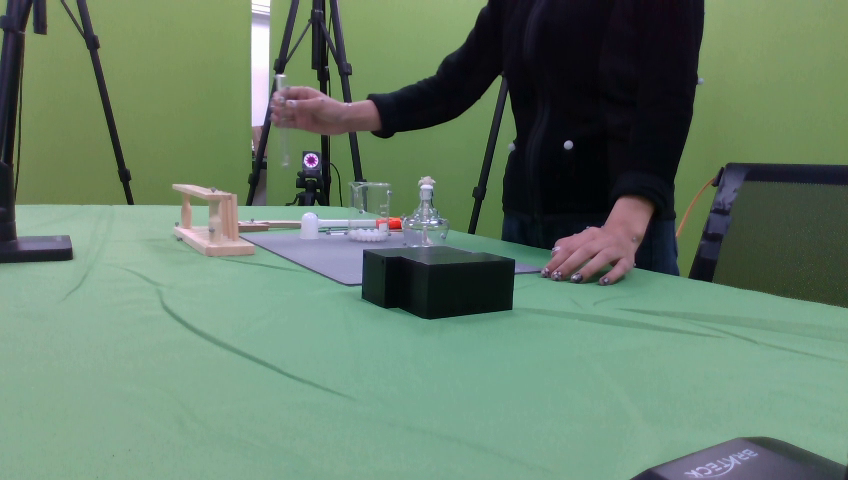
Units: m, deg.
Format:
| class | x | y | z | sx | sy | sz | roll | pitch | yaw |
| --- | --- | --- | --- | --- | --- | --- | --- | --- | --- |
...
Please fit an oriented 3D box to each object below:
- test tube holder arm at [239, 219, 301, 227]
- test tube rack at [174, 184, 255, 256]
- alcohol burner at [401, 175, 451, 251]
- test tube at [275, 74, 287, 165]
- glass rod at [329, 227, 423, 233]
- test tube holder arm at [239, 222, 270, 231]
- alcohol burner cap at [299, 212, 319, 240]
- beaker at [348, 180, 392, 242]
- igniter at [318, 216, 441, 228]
| class | x | y | z | sx | sy | sz | roll | pitch | yaw |
| --- | --- | --- | --- | --- | --- | --- | --- | --- | --- |
| test tube holder arm | -0.296 | -0.030 | 1.137 | 0.179 | 0.015 | 0.013 | -6 | 45 | -50 |
| test tube rack | -0.327 | -0.036 | 0.928 | 0.067 | 0.085 | 0.241 | -2 | 9 | -32 |
| alcohol burner | 0.003 | -0.042 | 0.947 | 0.078 | 0.119 | 0.078 | 1 | 9 | 0 |
| test tube | -0.239 | -0.200 | 1.011 | 0.017 | 0.150 | 0.017 | 2 | 16 | 0 |
| glass rod | -0.087 | -0.019 | 1.148 | 0.201 | 0.008 | 0.008 | -3 | 8 | -32 |
| test tube holder arm | -0.322 | -0.024 | 1.100 | 0.088 | 0.015 | 0.010 | -4 | 44 | -49 |
| alcohol burner cap | -0.195 | -0.025 | 1.025 | 0.034 | 0.048 | 0.034 | 3 | 7 | 0 |
| beaker | -0.095 | -0.049 | 1.027 | 0.074 | 0.100 | 0.084 | 5 | 9 | 25 |
| igniter | -0.090 | -0.035 | 1.223 | 0.278 | 0.025 | 0.057 | -2 | -2 | -31 |
